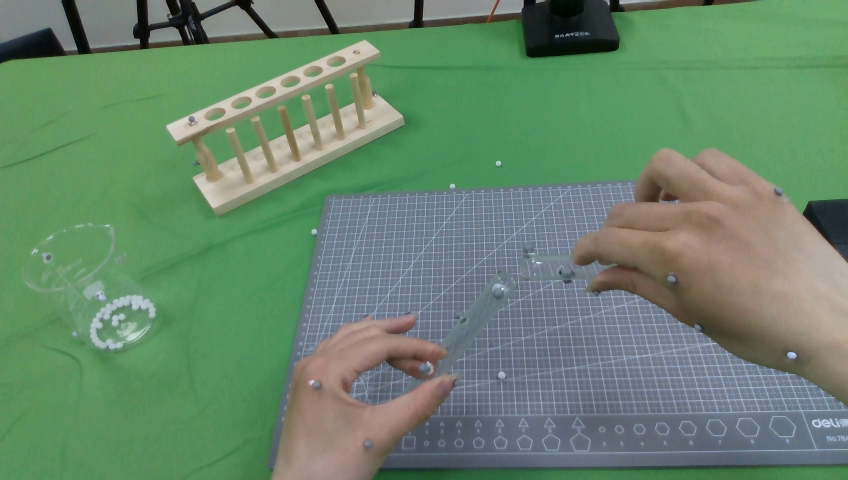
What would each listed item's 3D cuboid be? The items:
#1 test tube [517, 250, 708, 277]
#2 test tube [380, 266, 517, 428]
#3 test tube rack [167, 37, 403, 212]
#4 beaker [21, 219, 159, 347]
[{"bbox_3d":[0.124,0.015,0.382,0.151,0.017,0.017,1,43,-26],"label":"test tube"},{"bbox_3d":[0.012,0.075,0.395,0.017,0.151,0.017,28,27,-15],"label":"test tube"},{"bbox_3d":[-0.147,-0.133,0.679,0.242,0.086,0.066,-30,52,-18],"label":"test tube rack"},{"bbox_3d":[-0.286,0.040,0.535,0.073,0.101,0.083,19,53,22],"label":"beaker"}]
